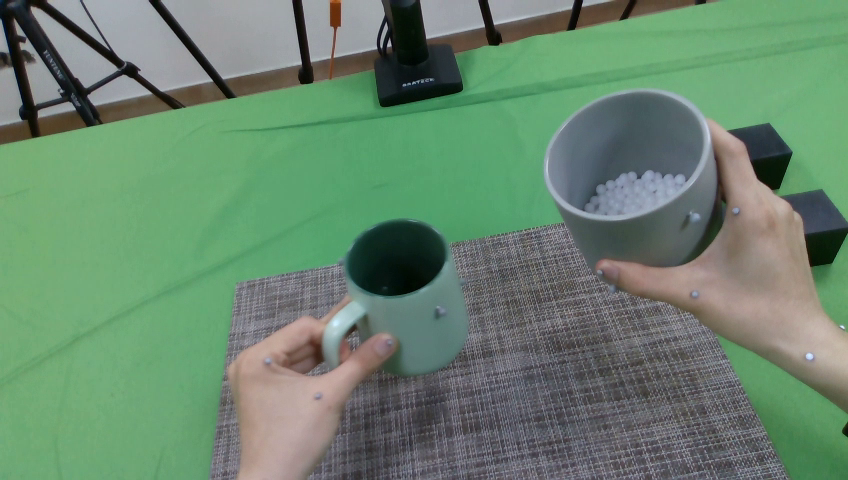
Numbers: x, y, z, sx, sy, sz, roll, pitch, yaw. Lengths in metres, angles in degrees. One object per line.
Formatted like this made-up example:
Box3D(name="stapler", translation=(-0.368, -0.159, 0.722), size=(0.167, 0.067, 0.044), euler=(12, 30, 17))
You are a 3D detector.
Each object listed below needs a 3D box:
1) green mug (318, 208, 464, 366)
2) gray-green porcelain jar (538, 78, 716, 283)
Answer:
Box3D(name="green mug", translation=(-0.029, 0.048, 0.470), size=(0.091, 0.106, 0.125), euler=(34, 61, 31))
Box3D(name="gray-green porcelain jar", translation=(0.151, -0.035, 0.437), size=(0.105, 0.128, 0.105), euler=(-14, 55, 22))
